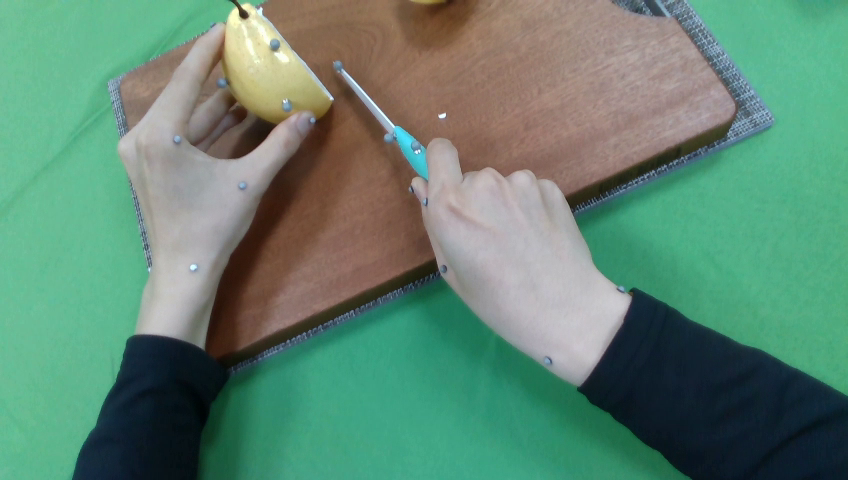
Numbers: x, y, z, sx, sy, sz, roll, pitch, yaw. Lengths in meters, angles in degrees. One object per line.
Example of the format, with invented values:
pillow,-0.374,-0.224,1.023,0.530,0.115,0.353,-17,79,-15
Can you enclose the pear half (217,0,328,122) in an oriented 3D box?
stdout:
pear half,-0.114,-0.120,0.405,0.056,0.111,0.075,-43,61,-3

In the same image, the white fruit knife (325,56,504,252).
white fruit knife,-0.015,-0.068,0.403,0.016,0.028,0.205,-37,60,-7
